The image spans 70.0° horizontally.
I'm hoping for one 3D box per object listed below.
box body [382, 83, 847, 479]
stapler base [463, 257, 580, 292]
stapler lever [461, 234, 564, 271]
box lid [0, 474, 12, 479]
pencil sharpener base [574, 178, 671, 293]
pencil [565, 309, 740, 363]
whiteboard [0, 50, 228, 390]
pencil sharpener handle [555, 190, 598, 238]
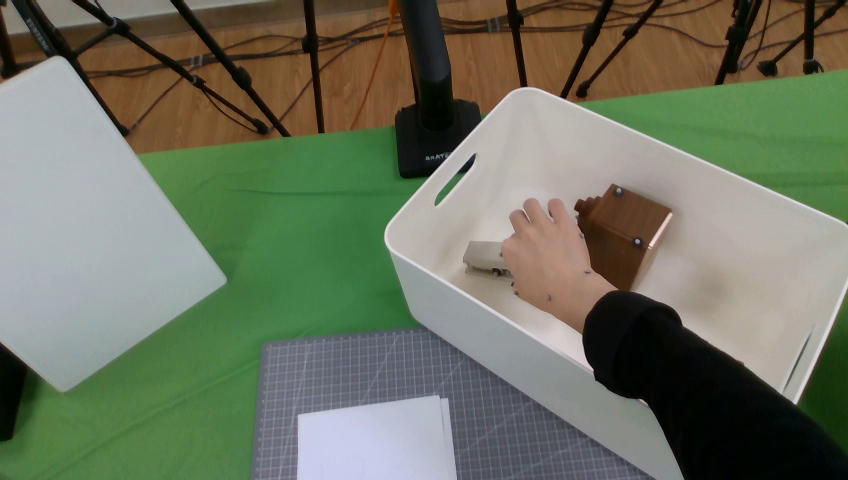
[{"bbox_3d":[0.176,0.035,0.610,0.361,0.162,0.253,30,65,22],"label":"box body"},{"bbox_3d":[0.102,0.024,0.664,0.129,0.025,0.041,11,62,31],"label":"stapler base"},{"bbox_3d":[0.091,0.010,0.644,0.117,0.040,0.026,10,61,32],"label":"stapler lever"},{"bbox_3d":[-0.448,0.409,0.525,0.262,0.015,0.369,17,61,16],"label":"box lid"},{"bbox_3d":[0.210,-0.004,0.659,0.076,0.108,0.061,30,63,23],"label":"pencil sharpener base"},{"bbox_3d":[0.234,0.099,0.650,0.193,0.012,0.012,14,60,18],"label":"pencil"},{"bbox_3d":[-0.403,-0.030,0.658,0.217,0.309,0.142,-36,42,-16],"label":"whiteboard"},{"bbox_3d":[0.166,-0.032,0.666,0.030,0.068,0.036,30,50,23],"label":"pencil sharpener handle"}]
